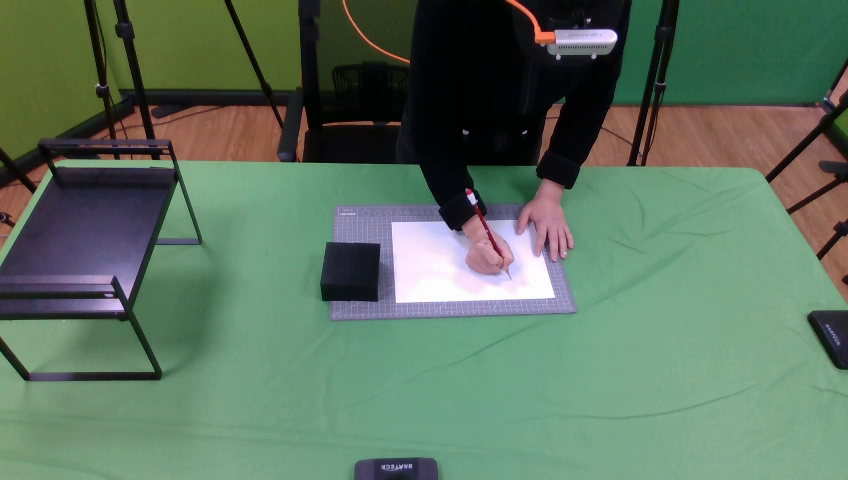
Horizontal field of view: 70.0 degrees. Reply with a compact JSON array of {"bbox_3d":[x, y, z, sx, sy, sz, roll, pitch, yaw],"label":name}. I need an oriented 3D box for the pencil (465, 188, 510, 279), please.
[{"bbox_3d":[0.120,-0.009,1.123,0.012,0.194,0.012,-25,16,7],"label":"pencil"}]
